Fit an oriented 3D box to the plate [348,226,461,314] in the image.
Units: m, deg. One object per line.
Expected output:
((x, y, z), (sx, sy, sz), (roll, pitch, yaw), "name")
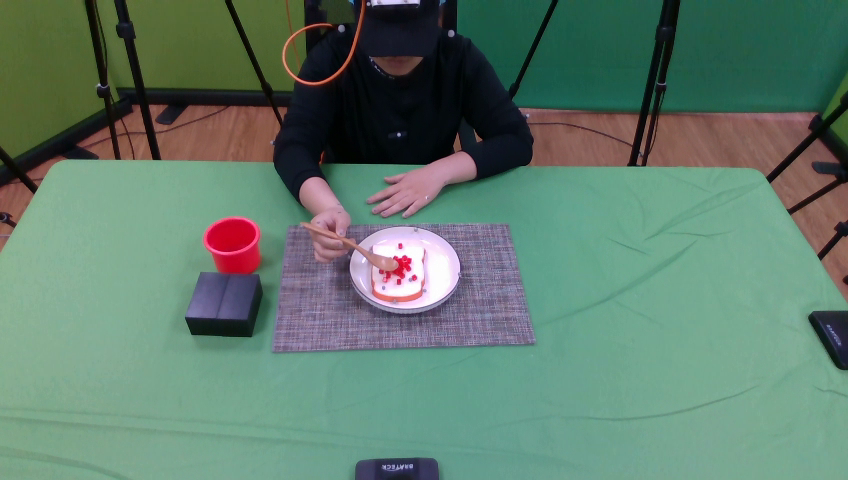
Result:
((-0.035, 0.058, 1.123), (0.209, 0.038, 0.208), (2, 46, -2), "plate")

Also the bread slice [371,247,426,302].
((-0.047, 0.061, 1.124), (0.105, 0.019, 0.130), (0, 45, -3), "bread slice")

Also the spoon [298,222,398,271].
((-0.131, 0.009, 1.065), (0.194, 0.021, 0.041), (29, 28, -23), "spoon")
